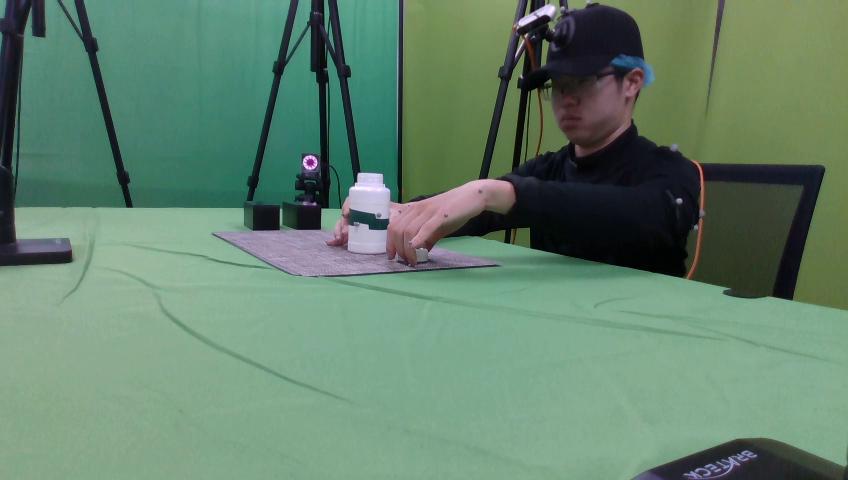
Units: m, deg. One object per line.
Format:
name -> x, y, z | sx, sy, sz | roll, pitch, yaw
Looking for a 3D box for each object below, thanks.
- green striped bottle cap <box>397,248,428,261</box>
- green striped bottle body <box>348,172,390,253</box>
green striped bottle cap -> -0.017, 0.021, 0.850 | 0.044, 0.020, 0.044 | -2, -1, 0
green striped bottle body -> -0.083, -0.043, 0.912 | 0.063, 0.119, 0.063 | 1, 8, 0
